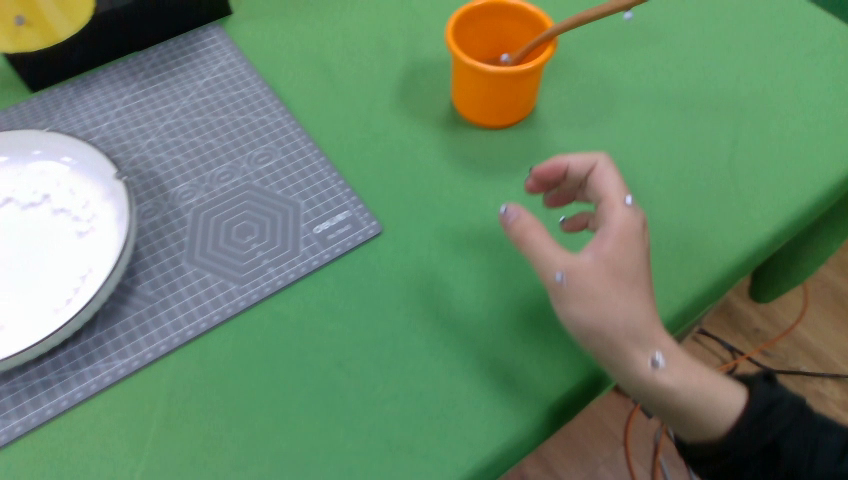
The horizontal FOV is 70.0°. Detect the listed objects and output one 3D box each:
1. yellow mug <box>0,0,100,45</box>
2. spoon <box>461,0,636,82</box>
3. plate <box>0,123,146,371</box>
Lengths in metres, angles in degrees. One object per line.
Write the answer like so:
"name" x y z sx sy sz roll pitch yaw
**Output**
"yellow mug" -0.351 -0.225 0.507 0.130 0.064 0.099 13 59 9
"spoon" 0.104 -0.168 0.486 0.022 0.193 0.041 42 55 -27
"plate" -0.306 0.004 0.442 0.208 0.039 0.205 0 59 0
